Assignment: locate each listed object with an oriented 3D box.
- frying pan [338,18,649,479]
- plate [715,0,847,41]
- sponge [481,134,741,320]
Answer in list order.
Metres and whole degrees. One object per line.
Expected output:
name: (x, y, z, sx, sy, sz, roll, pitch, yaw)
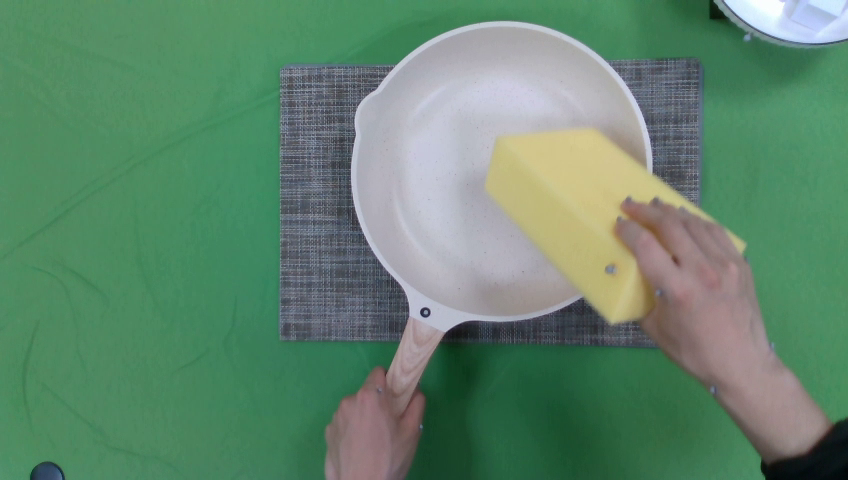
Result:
frying pan: (0.027, 0.024, 0.606, 0.306, 0.103, 0.487, 25, 84, 5)
plate: (0.354, -0.287, 0.568, 0.207, 0.039, 0.207, 0, 90, 3)
sponge: (0.153, -0.025, 0.540, 0.119, 0.204, 0.061, -7, 126, -25)
